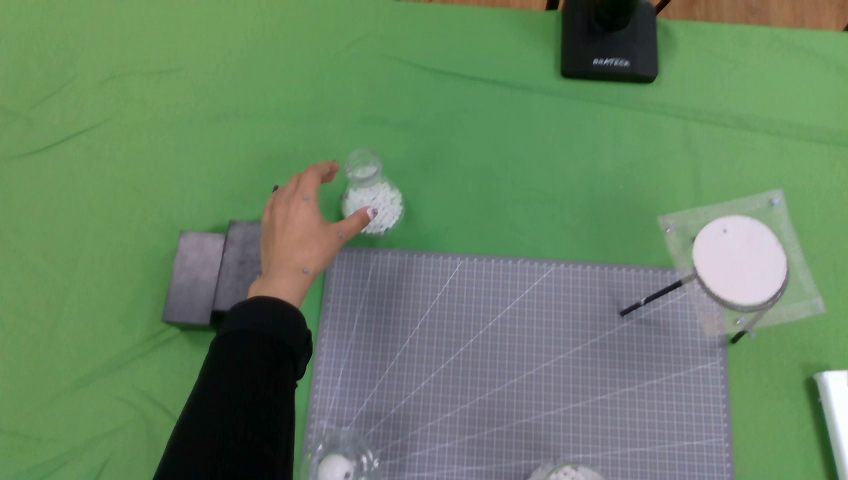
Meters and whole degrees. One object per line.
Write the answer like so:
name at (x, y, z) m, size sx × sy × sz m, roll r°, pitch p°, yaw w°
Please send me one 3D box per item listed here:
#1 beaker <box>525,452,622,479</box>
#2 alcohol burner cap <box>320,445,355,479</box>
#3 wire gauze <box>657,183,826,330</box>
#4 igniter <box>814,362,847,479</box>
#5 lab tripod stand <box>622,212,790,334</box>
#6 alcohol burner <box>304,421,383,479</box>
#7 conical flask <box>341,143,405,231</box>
beaker at (0.139, 0.240, 0.579) m, size 0.084 × 0.101 × 0.073 m, roll -14°, pitch 73°, yaw -4°
alcohol burner cap at (-0.078, 0.200, 0.546) m, size 0.034 × 0.048 × 0.033 m, roll 3°, pitch 65°, yaw -6°
wire gauze at (0.294, 0.014, 0.561) m, size 0.125 × 0.011 × 0.120 m, roll -12°, pitch 75°, yaw -4°
igniter at (0.442, 0.264, 0.611) m, size 0.057 × 0.025 × 0.275 m, roll 1°, pitch 73°, yaw -11°
lab tripod stand at (0.292, 0.038, 0.624) m, size 0.148 × 0.132 × 0.147 m, roll 0°, pitch 74°, yaw 0°
alcohol burner at (-0.079, 0.213, 0.580) m, size 0.078 × 0.120 × 0.077 m, roll 1°, pitch 71°, yaw -1°
conical flask at (-0.061, -0.062, 0.662) m, size 0.075 × 0.122 × 0.075 m, roll 0°, pitch 72°, yaw 0°
